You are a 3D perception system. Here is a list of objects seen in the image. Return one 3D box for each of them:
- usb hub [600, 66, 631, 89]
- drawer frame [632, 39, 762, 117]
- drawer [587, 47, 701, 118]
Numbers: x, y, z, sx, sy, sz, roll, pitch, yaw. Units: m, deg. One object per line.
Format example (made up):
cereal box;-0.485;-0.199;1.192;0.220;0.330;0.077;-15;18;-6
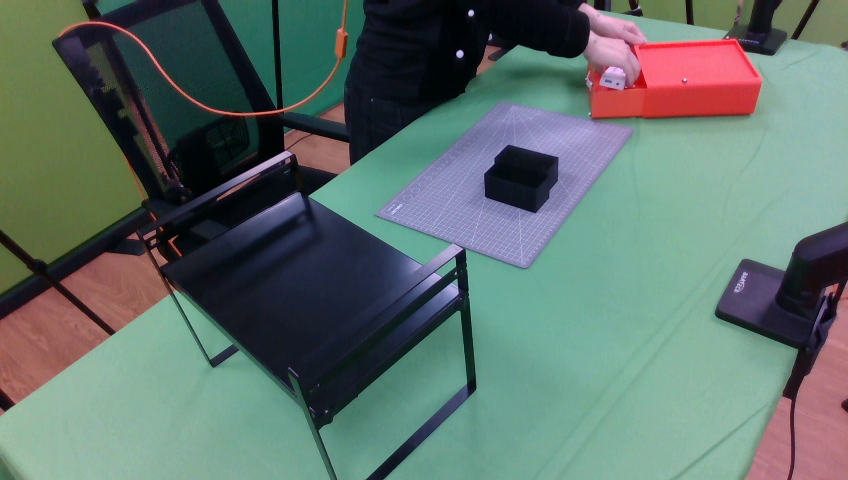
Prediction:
usb hub;0.397;-0.335;1.246;0.049;0.025;0.125;17;27;16
drawer frame;0.540;-0.332;1.234;0.213;0.083;0.201;0;41;7
drawer;0.445;-0.332;1.249;0.211;0.073;0.194;1;40;10
